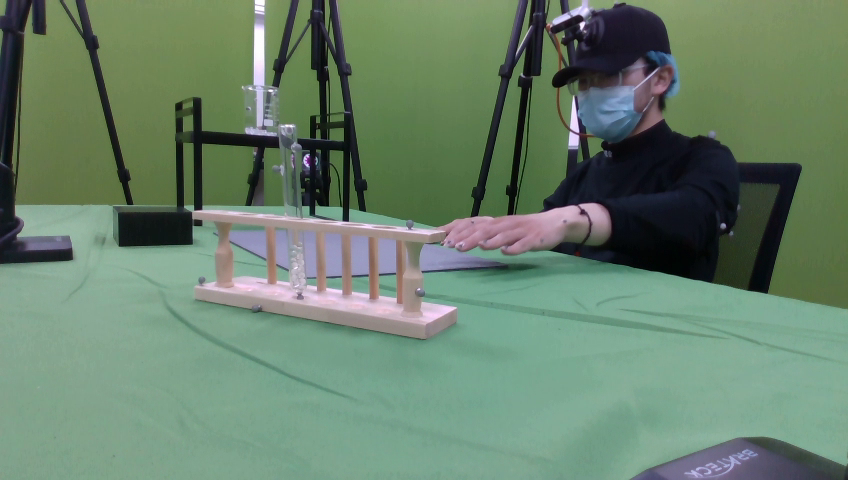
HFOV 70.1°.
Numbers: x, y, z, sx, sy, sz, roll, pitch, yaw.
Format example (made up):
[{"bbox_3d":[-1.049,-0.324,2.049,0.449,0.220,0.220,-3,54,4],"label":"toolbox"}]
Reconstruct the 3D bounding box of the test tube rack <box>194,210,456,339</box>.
[{"bbox_3d":[-0.093,0.023,0.546,0.241,0.085,0.067,6,8,25],"label":"test tube rack"}]

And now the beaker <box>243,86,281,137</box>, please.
[{"bbox_3d":[-0.338,-0.265,1.253,0.073,0.100,0.084,8,9,38],"label":"beaker"}]

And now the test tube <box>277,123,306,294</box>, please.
[{"bbox_3d":[-0.116,-0.027,0.530,0.017,0.150,0.017,-2,8,1],"label":"test tube"}]
